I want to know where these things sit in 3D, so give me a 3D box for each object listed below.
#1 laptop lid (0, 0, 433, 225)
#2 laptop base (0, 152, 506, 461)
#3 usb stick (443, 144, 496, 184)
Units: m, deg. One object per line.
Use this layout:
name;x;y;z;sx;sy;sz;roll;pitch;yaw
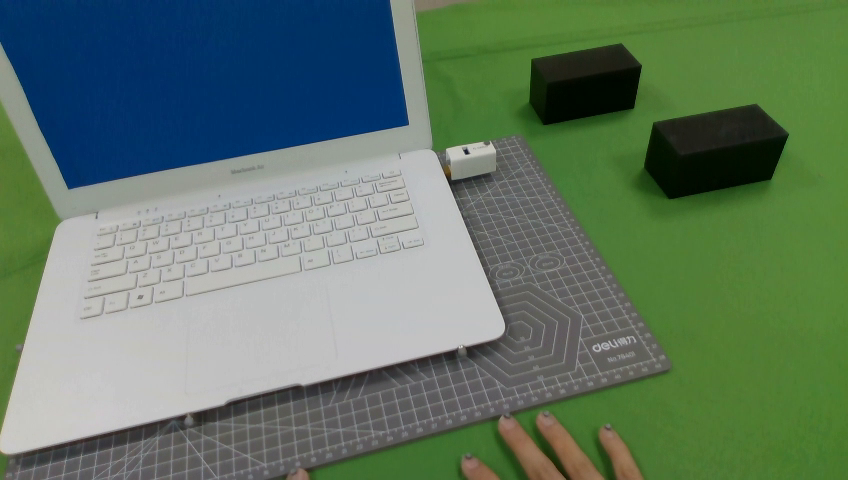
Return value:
laptop lid;-0.176;-0.147;0.520;0.357;0.244;0.013;-14;30;-6
laptop base;-0.134;0.034;0.498;0.355;0.023;0.233;-12;48;-7
usb stick;0.037;-0.070;0.569;0.059;0.027;0.021;-14;46;-5
